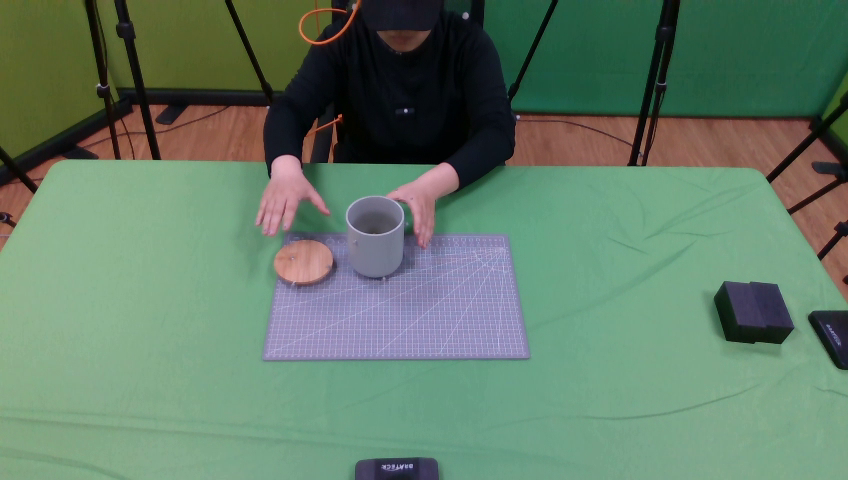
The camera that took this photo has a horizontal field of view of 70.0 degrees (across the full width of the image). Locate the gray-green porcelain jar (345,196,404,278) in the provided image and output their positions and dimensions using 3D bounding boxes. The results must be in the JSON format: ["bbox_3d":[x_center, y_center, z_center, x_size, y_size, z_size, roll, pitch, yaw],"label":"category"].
[{"bbox_3d":[-0.091,-0.001,1.117,0.106,0.127,0.105,2,46,-2],"label":"gray-green porcelain jar"}]

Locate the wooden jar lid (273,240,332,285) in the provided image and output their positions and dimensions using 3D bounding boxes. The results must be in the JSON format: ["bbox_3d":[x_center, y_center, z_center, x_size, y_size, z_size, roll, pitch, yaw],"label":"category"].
[{"bbox_3d":[-0.227,0.044,1.137,0.108,0.021,0.107,3,47,-3],"label":"wooden jar lid"}]
